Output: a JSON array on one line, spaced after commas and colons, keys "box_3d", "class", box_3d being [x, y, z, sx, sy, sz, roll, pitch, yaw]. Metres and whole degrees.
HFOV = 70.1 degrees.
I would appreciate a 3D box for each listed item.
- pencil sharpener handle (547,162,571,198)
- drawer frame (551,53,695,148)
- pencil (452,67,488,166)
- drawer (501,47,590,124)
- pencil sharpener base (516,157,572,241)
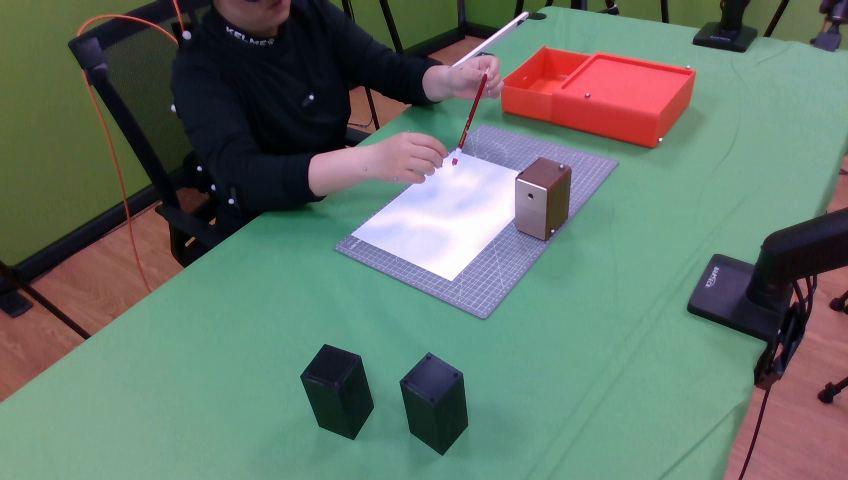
[{"box_3d": [0.221, -0.102, 0.968, 0.035, 0.068, 0.031, 20, 47, 37], "class": "pencil sharpener handle"}, {"box_3d": [0.391, -0.281, 1.196, 0.212, 0.083, 0.202, 22, 48, 29], "class": "drawer frame"}, {"box_3d": [0.082, -0.217, 1.055, 0.012, 0.012, 0.194, 15, 79, 24], "class": "pencil"}, {"box_3d": [0.296, -0.316, 1.255, 0.210, 0.073, 0.195, 21, 47, 29], "class": "drawer"}, {"box_3d": [0.189, -0.065, 0.948, 0.061, 0.107, 0.077, 24, 49, 33], "class": "pencil sharpener base"}]
